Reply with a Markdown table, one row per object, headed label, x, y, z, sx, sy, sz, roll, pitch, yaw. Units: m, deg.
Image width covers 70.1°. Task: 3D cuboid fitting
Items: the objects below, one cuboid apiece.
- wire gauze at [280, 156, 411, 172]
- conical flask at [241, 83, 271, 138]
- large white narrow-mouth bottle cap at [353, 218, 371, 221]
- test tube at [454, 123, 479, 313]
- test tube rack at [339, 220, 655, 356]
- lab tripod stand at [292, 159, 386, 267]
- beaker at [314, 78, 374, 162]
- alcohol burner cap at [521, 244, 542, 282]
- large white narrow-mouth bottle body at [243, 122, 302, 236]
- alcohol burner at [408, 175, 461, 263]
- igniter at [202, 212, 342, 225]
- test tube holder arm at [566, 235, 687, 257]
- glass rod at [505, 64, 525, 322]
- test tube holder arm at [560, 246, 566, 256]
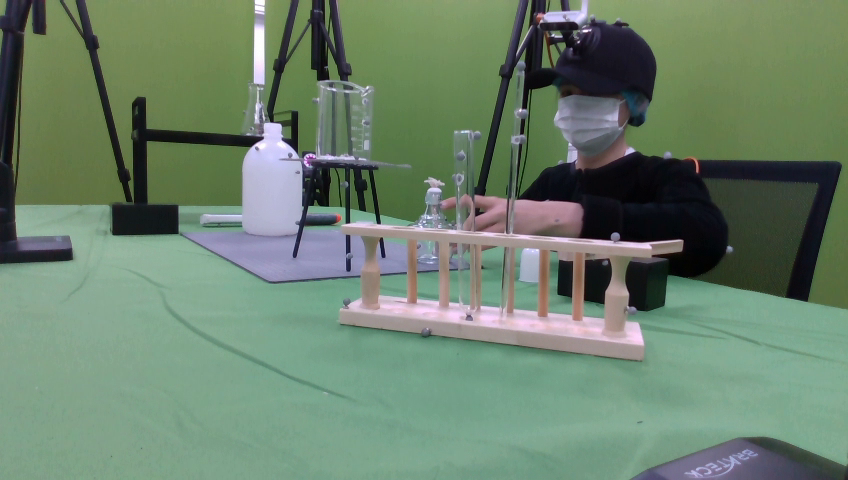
| label | x | y | z | sx | sy | sz | roll | pitch | yaw |
| --- | --- | --- | --- | --- | --- | --- | --- | --- | --- |
| wire gauze | -0.103 | -0.103 | 0.785 | 0.121 | 0.011 | 0.126 | 11 | 8 | 42 |
| conical flask | -0.384 | -0.297 | 1.393 | 0.075 | 0.122 | 0.075 | 2 | 7 | 0 |
| large white narrow-mouth bottle cap | -0.121 | -0.029 | 1.184 | 0.038 | 0.024 | 0.037 | 2 | 8 | 0 |
| test tube | 0.034 | -0.016 | 0.477 | 0.017 | 0.150 | 0.017 | -2 | 9 | 1 |
| test tube rack | 0.056 | 0.032 | 0.495 | 0.242 | 0.085 | 0.067 | 4 | 7 | 15 |
| lab tripod stand | -0.105 | -0.039 | 0.797 | 0.148 | 0.131 | 0.148 | 2 | 5 | 0 |
| beaker | -0.101 | -0.150 | 0.773 | 0.074 | 0.100 | 0.083 | -2 | 8 | -40 |
| alcohol burner cap | 0.136 | 0.025 | 0.740 | 0.034 | 0.048 | 0.034 | 1 | 6 | 0 |
| large white narrow-mouth bottle body | -0.264 | -0.109 | 1.061 | 0.102 | 0.194 | 0.102 | 2 | 8 | 0 |
| alcohol burner | 0.014 | -0.029 | 0.834 | 0.078 | 0.119 | 0.078 | 0 | 6 | 0 |
| igniter | -0.298 | -0.043 | 1.216 | 0.278 | 0.025 | 0.057 | -3 | -2 | -32 |
| test tube holder arm | 0.215 | 0.006 | 0.630 | 0.179 | 0.015 | 0.013 | -3 | 10 | -31 |
| glass rod | 0.069 | -0.030 | 0.458 | 0.008 | 0.199 | 0.008 | 1 | 15 | 0 |
| test tube holder arm | 0.173 | 0.007 | 0.611 | 0.088 | 0.015 | 0.010 | -3 | 10 | -30 |
